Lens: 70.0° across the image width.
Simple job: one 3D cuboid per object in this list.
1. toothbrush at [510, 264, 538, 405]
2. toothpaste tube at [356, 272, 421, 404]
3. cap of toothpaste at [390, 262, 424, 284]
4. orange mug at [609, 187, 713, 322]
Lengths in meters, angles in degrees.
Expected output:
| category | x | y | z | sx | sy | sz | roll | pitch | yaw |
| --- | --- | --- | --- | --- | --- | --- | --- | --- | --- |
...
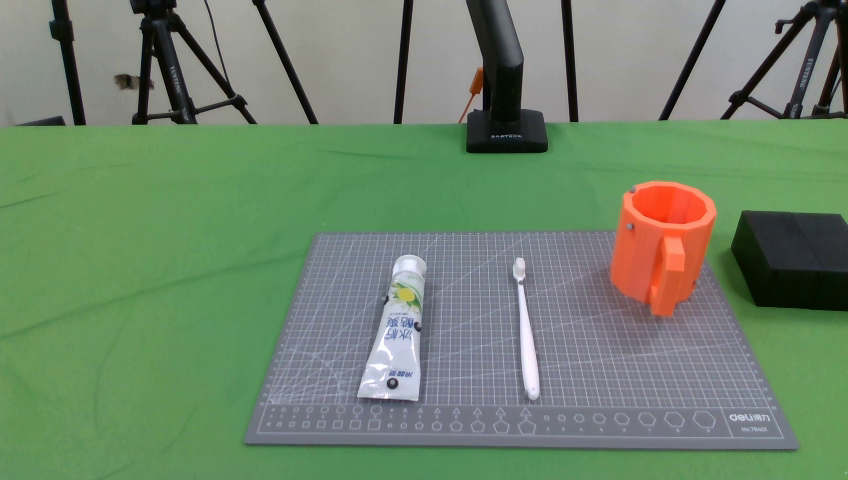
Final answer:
| category | x | y | z | sx | sy | sz | roll | pitch | yaw |
| --- | --- | --- | --- | --- | --- | --- | --- | --- | --- |
| toothbrush | 0.098 | 0.085 | 0.592 | 0.014 | 0.017 | 0.180 | 11 | 37 | -5 |
| toothpaste tube | -0.027 | 0.089 | 0.587 | 0.055 | 0.035 | 0.163 | -2 | 39 | 7 |
| cap of toothpaste | -0.018 | 0.039 | 0.646 | 0.037 | 0.038 | 0.011 | 2 | 40 | 6 |
| orange mug | 0.235 | 0.018 | 0.605 | 0.083 | 0.101 | 0.125 | 4 | 33 | 10 |
